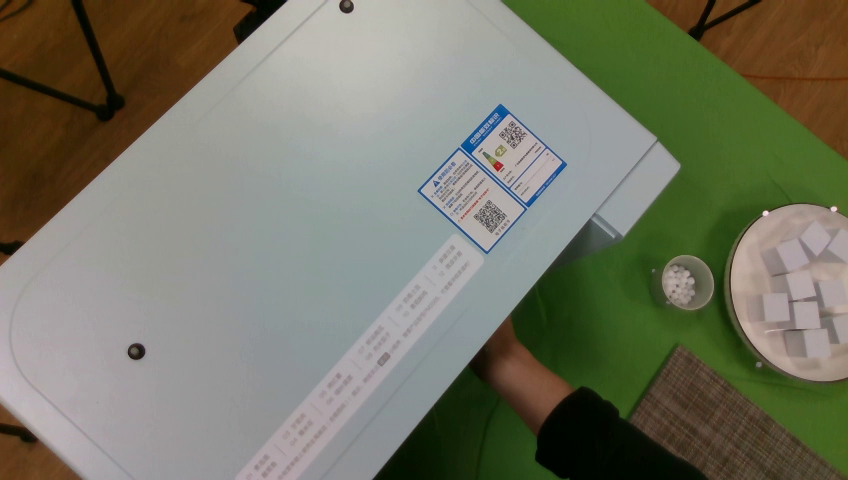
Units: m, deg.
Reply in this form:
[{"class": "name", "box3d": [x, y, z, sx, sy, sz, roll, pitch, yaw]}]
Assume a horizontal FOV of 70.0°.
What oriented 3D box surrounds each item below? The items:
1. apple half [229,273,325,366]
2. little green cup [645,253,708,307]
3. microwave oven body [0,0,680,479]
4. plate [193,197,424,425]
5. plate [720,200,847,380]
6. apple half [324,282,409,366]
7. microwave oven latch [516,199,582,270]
[{"class": "apple half", "box3d": [-0.133, 0.074, 0.541, 0.074, 0.053, 0.081, -39, 98, -4]}, {"class": "little green cup", "box3d": [0.284, 0.048, 0.688, 0.061, 0.038, 0.061, 1, 82, -5]}, {"class": "microwave oven body", "box3d": [-0.081, 0.008, 0.533, 0.326, 0.260, 0.441, 42, 79, 1]}, {"class": "plate", "box3d": [-0.105, 0.065, 0.568, 0.209, 0.038, 0.208, 1, 81, -7]}, {"class": "plate", "box3d": [0.440, 0.058, 0.708, 0.208, 0.039, 0.207, 1, 80, -7]}, {"class": "apple half", "box3d": [-0.055, 0.078, 0.562, 0.081, 0.033, 0.081, 1, 76, -4]}, {"class": "microwave oven latch", "box3d": [0.136, -0.005, 0.660, 0.030, 0.029, 0.079, 44, 79, 1]}]
